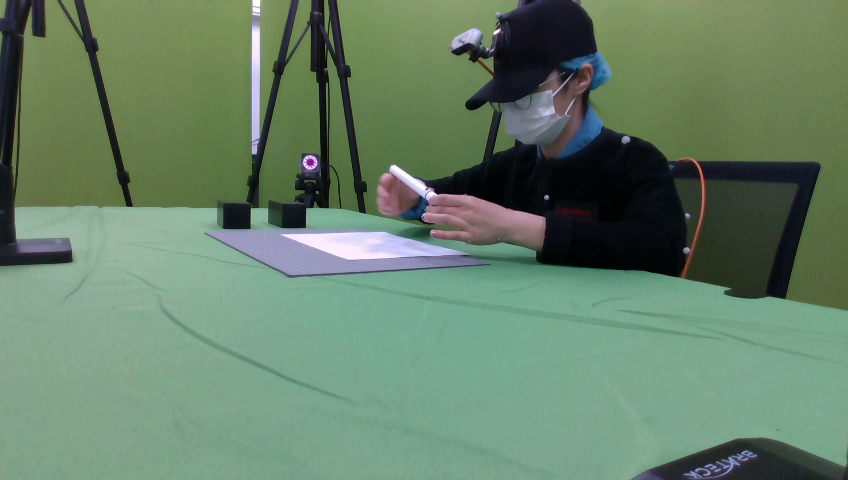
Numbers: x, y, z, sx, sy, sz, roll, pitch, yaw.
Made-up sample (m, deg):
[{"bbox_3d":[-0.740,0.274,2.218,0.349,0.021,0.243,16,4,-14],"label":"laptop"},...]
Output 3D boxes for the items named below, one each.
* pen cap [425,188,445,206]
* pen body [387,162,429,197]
[{"bbox_3d":[0.018,-0.066,0.941,0.017,0.017,0.038,-3,30,-36],"label":"pen cap"},{"bbox_3d":[-0.017,-0.093,0.984,0.017,0.017,0.143,-4,30,-38],"label":"pen body"}]
